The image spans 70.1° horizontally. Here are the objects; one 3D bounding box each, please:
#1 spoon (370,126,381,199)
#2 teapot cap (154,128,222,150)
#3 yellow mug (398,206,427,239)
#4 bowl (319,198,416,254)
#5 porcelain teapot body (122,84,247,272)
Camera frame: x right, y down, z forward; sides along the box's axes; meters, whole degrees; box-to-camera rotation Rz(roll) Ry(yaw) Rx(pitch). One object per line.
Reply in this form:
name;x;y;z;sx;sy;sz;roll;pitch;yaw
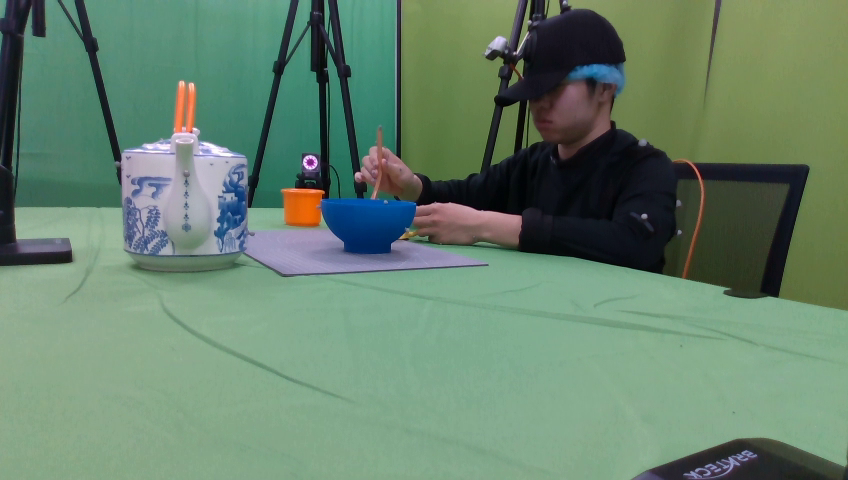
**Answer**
spoon;-0.089;-0.116;1.127;0.021;0.193;0.041;4;-3;4
teapot cap;-0.294;-0.117;0.754;0.085;0.044;0.085;4;9;0
yellow mug;-0.061;-0.039;1.128;0.131;0.064;0.100;2;7;-1
bowl;-0.089;-0.022;0.941;0.151;0.077;0.151;2;7;0
porcelain teapot body;-0.286;-0.075;0.733;0.146;0.225;0.204;0;8;-24
